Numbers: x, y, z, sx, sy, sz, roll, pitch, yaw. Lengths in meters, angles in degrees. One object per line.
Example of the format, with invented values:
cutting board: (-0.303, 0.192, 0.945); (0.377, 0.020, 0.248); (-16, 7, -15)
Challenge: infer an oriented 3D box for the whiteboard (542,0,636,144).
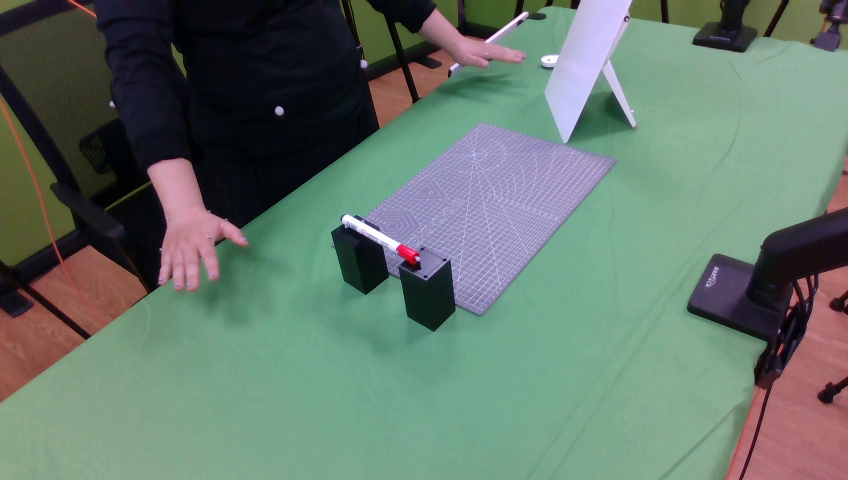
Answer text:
whiteboard: (0.366, -0.351, 1.160); (0.144, 0.305, 0.216); (10, 39, -10)

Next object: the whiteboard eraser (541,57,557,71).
whiteboard eraser: (0.323, -0.412, 1.407); (0.101, 0.019, 0.041); (1, 42, 11)

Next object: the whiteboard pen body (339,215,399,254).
whiteboard pen body: (-0.067, -0.004, 0.835); (0.139, 0.017, 0.017); (28, 51, 33)

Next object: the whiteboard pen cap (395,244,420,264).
whiteboard pen cap: (-0.022, 0.018, 0.800); (0.032, 0.017, 0.017); (29, 52, 36)
